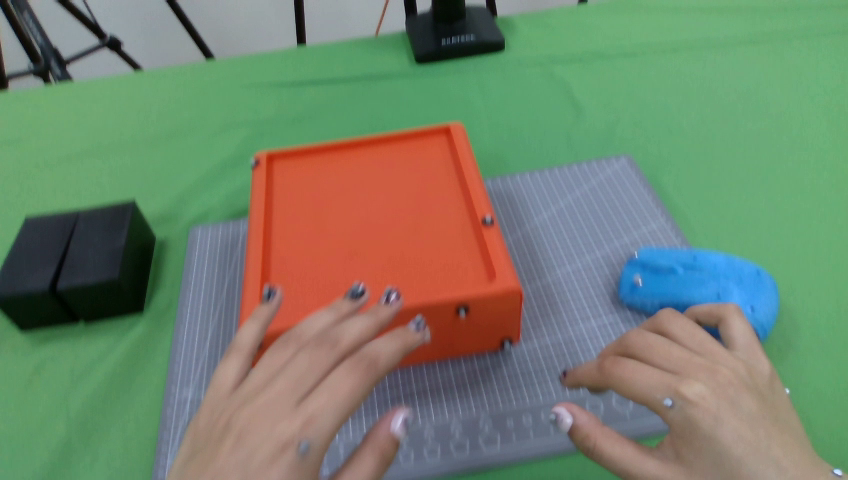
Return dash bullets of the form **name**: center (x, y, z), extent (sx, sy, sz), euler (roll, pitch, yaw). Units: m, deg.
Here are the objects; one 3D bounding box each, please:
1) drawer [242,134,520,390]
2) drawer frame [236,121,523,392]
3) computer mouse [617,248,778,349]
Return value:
- **drawer**: center (-0.041, 0.007, 0.508), extent (0.194, 0.074, 0.209), euler (-10, 45, -2)
- **drawer frame**: center (-0.042, 0.005, 0.508), extent (0.202, 0.083, 0.211), euler (-10, 45, -3)
- **computer mouse**: center (0.215, 0.039, 0.479), extent (0.116, 0.041, 0.062), euler (17, 52, 26)
